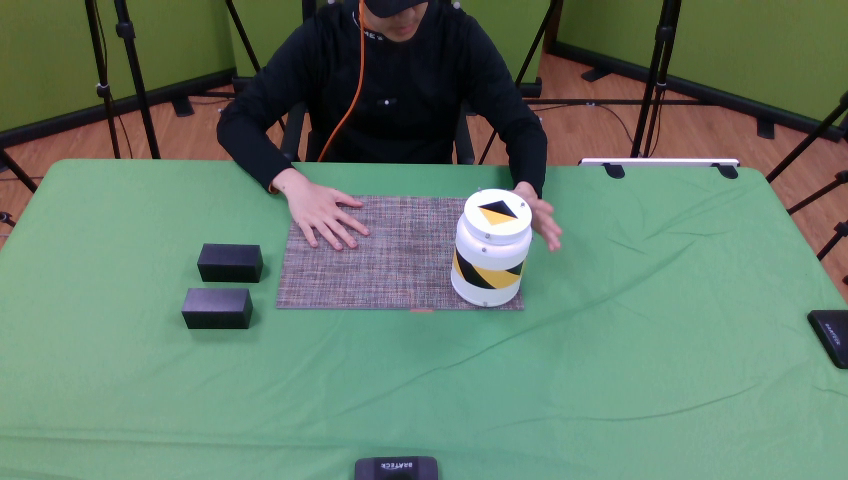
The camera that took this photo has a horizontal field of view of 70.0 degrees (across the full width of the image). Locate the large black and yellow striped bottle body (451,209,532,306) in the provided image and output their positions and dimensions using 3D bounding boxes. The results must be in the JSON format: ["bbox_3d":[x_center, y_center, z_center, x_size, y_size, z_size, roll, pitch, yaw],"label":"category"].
[{"bbox_3d":[0.119,0.014,1.074,0.131,0.185,0.130,2,46,-2],"label":"large black and yellow striped bottle body"}]

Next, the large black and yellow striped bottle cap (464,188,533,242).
[{"bbox_3d":[0.124,-0.044,1.014,0.115,0.019,0.114,2,47,-1],"label":"large black and yellow striped bottle cap"}]
